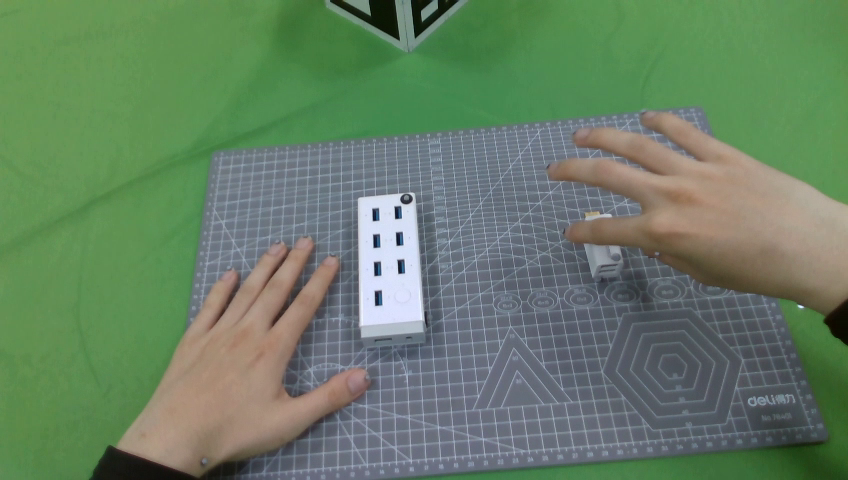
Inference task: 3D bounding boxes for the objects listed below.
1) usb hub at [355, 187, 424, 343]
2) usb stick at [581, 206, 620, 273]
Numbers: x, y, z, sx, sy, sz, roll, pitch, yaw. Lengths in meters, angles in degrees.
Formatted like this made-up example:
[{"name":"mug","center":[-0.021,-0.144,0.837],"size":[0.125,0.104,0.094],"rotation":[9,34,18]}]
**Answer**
[{"name":"usb hub","center":[-0.028,0.017,0.473],"size":[0.049,0.025,0.124],"rotation":[-5,60,1]},{"name":"usb stick","center":[0.136,-0.005,0.474],"size":[0.021,0.027,0.058],"rotation":[-6,58,6]}]
